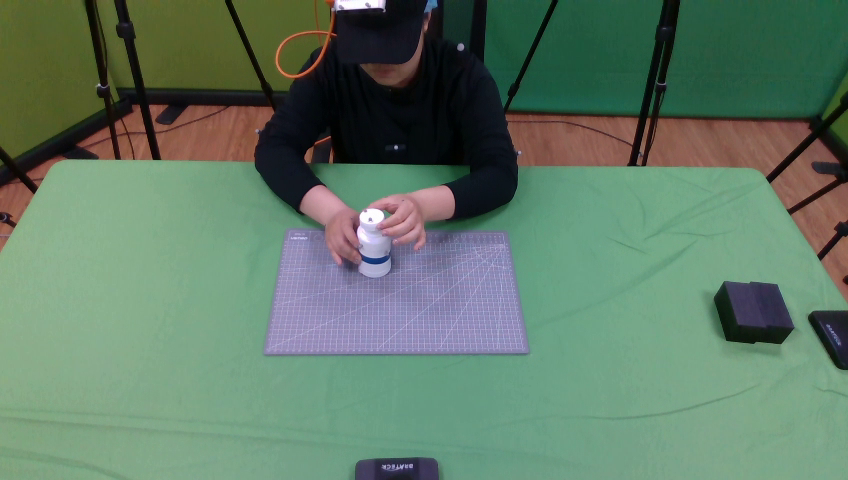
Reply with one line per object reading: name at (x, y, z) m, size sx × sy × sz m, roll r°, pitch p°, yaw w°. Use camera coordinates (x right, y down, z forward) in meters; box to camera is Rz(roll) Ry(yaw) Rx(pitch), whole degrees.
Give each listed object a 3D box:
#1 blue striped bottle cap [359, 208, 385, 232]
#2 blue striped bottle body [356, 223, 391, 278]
blue striped bottle cap at (-0.091, -0.036, 1.059) m, size 0.044 × 0.021 × 0.044 m, roll -3°, pitch 46°, yaw 3°
blue striped bottle body at (-0.093, 0.008, 1.111) m, size 0.063 × 0.121 × 0.062 m, roll 1°, pitch 46°, yaw -1°
